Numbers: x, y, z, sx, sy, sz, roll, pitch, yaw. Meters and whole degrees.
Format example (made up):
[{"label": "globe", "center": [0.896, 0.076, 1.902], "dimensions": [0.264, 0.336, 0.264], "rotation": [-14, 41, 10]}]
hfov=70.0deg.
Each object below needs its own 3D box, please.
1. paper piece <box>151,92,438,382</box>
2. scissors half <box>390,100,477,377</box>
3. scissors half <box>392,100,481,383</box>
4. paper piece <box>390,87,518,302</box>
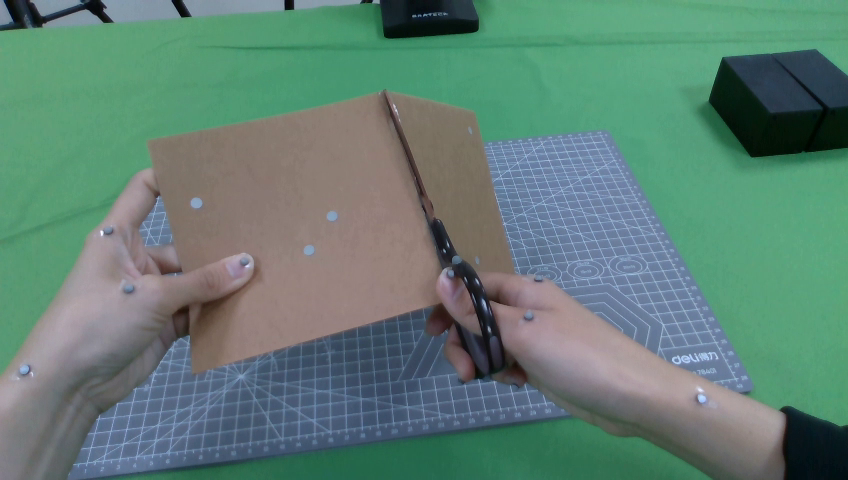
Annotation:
[{"label": "paper piece", "center": [-0.067, -0.008, 0.331], "dimensions": [0.136, 0.004, 0.134], "rotation": [-15, 78, -10]}, {"label": "scissors half", "center": [0.000, -0.010, 0.332], "dimensions": [0.013, 0.040, 0.173], "rotation": [-18, 62, 5]}, {"label": "scissors half", "center": [0.004, -0.003, 0.351], "dimensions": [0.013, 0.040, 0.174], "rotation": [-16, 79, 0]}, {"label": "paper piece", "center": [0.025, -0.029, 0.414], "dimensions": [0.008, 0.136, 0.138], "rotation": [-10, 1, 29]}]
